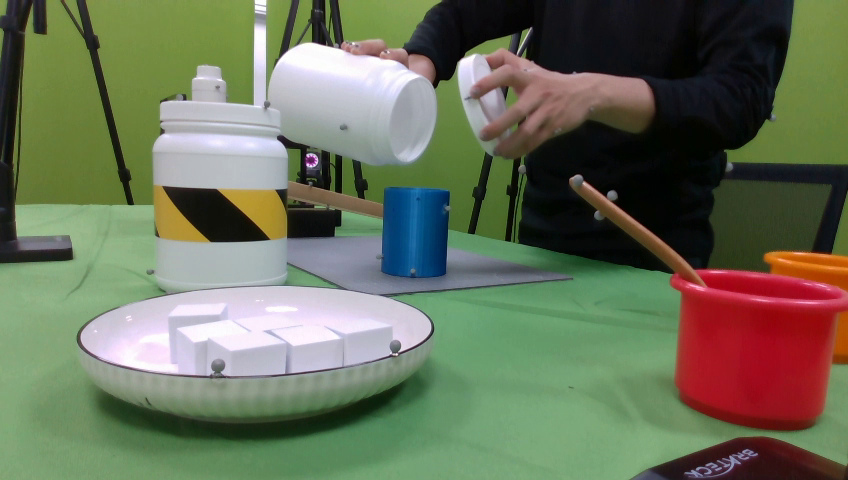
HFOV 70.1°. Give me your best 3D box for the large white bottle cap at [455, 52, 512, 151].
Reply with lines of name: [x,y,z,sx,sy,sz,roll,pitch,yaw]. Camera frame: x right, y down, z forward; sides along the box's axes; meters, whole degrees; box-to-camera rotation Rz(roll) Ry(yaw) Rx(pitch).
large white bottle cap: [0.069,-0.157,0.688,0.018,0.114,0.115,-19,-2,26]

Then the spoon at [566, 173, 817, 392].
spoon: [0.161,0.024,0.370,0.193,0.021,0.042,47,17,3]

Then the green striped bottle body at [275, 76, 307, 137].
green striped bottle body: [-0.269,-0.269,1.221,0.063,0.119,0.063,2,7,0]

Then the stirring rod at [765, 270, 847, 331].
stirring rod: [0.352,0.020,0.484,0.176,0.006,0.014,-40,-7,12]

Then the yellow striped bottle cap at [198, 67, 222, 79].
yellow striped bottle cap: [-0.412,-0.320,1.162,0.044,0.018,0.044,0,5,0]

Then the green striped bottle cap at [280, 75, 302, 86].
green striped bottle cap: [-0.267,-0.320,1.216,0.044,0.020,0.044,3,9,0]

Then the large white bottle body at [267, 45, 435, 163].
large white bottle body: [-0.090,-0.171,0.769,0.184,0.130,0.131,18,14,28]

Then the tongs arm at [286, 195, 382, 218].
tongs arm: [-0.165,-0.074,1.216,0.389,0.027,0.028,11,-6,-24]

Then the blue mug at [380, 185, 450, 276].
blue mug: [-0.018,-0.016,0.764,0.083,0.106,0.116,-1,8,-25]

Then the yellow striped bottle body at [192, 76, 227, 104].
yellow striped bottle body: [-0.414,-0.268,1.169,0.063,0.120,0.063,2,7,0]

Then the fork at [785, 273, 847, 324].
fork: [0.332,0.018,0.444,0.028,0.018,0.207,-2,-35,-15]

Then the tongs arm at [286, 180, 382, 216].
tongs arm: [-0.122,-0.066,1.147,0.387,0.026,0.050,11,-3,-37]

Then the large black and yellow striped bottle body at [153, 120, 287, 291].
large black and yellow striped bottle body: [-0.208,-0.042,0.626,0.131,0.184,0.130,2,7,0]

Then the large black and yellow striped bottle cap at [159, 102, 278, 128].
large black and yellow striped bottle cap: [-0.207,-0.125,0.615,0.115,0.019,0.115,2,6,0]

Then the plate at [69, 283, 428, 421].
plate: [-0.102,0.066,0.381,0.208,0.039,0.207,2,7,0]
